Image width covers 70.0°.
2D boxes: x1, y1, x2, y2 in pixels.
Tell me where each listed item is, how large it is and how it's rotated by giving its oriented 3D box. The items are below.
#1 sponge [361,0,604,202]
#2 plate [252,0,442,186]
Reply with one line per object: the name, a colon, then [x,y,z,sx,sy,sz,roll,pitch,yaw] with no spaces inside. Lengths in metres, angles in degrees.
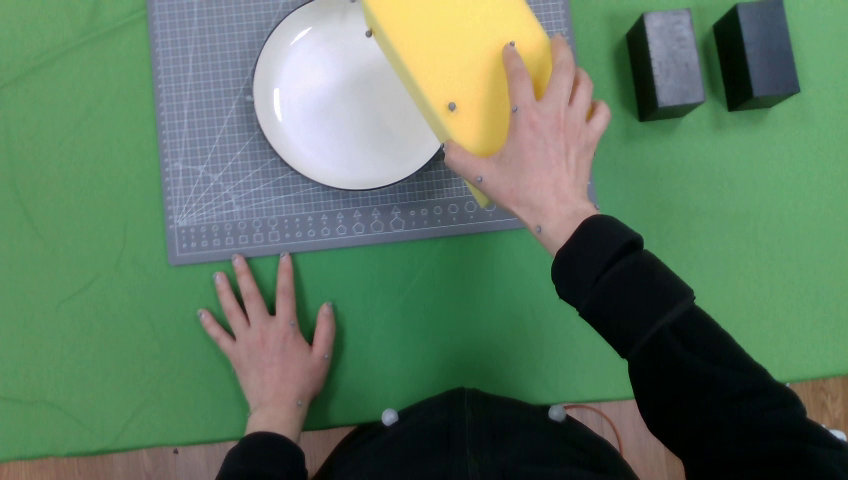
sponge: [0.048,-0.152,0.539,0.118,0.061,0.206,-33,87,-3]
plate: [-0.068,-0.156,0.626,0.209,0.038,0.208,0,85,-3]
